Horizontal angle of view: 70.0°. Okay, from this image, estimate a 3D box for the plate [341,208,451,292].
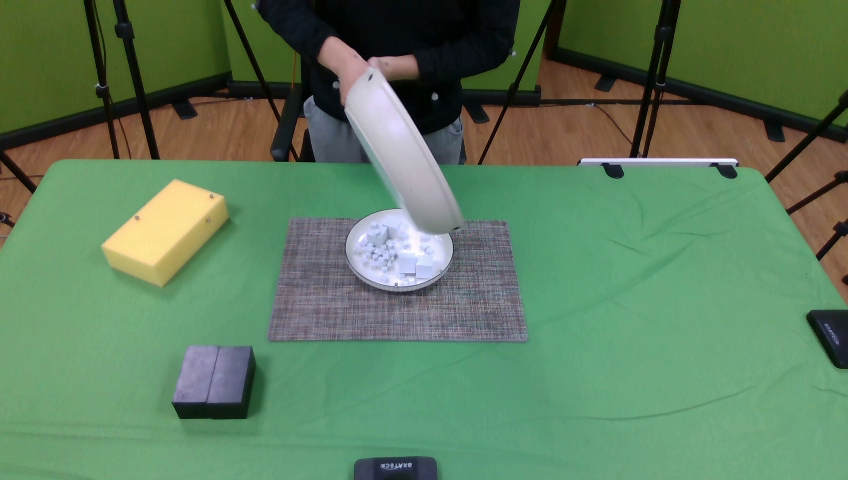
[{"bbox_3d":[-0.053,0.022,1.156,0.208,0.039,0.206,2,46,-2],"label":"plate"}]

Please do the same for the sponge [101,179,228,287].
[{"bbox_3d":[-0.486,-0.019,1.151,0.118,0.061,0.206,19,47,12],"label":"sponge"}]

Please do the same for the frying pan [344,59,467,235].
[{"bbox_3d":[-0.063,-0.192,1.034,0.103,0.309,0.484,-26,43,4],"label":"frying pan"}]
